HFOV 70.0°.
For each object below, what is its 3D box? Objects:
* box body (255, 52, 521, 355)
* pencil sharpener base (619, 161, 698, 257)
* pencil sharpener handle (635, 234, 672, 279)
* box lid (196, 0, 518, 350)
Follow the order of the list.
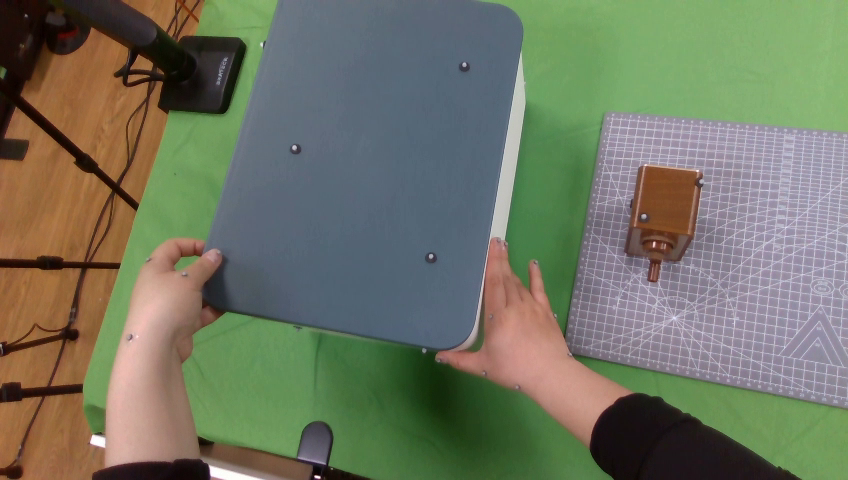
[{"bbox_3d":[-0.035,-0.062,0.699,0.253,0.161,0.362,6,76,16],"label":"box body"},{"bbox_3d":[0.246,-0.027,0.643,0.061,0.108,0.076,9,77,17],"label":"pencil sharpener base"},{"bbox_3d":[0.234,0.019,0.621,0.036,0.068,0.030,7,76,24],"label":"pencil sharpener handle"},{"bbox_3d":[-0.056,-0.092,0.601,0.263,0.015,0.369,10,76,2],"label":"box lid"}]
